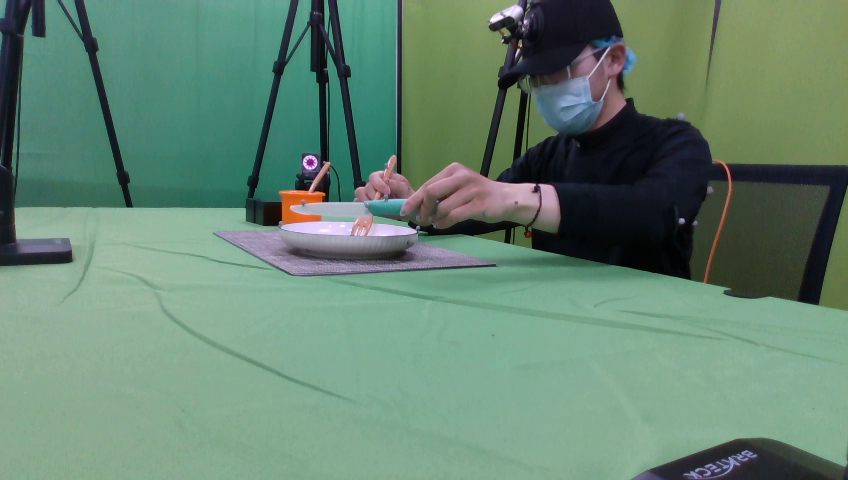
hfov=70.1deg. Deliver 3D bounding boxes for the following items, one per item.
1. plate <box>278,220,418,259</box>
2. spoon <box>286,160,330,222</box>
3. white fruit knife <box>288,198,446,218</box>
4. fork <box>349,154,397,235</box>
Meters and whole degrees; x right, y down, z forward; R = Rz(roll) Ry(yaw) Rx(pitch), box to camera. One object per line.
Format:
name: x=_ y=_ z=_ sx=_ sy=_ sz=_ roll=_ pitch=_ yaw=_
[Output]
plate: x=-0.114 y=-0.002 z=0.914 sx=0.209 sy=0.038 sz=0.209 roll=2 pitch=8 yaw=0
spoon: x=-0.233 y=-0.101 z=1.252 sx=0.041 sy=0.193 sz=0.022 roll=2 pitch=-38 yaw=24
white fruit knife: x=-0.072 y=-0.041 z=0.790 sx=0.208 sy=0.027 sz=0.016 roll=-1 pitch=32 yaw=-12
fork: x=-0.079 y=-0.071 z=0.983 sx=0.028 sy=0.018 sz=0.207 roll=13 pitch=48 yaw=8
